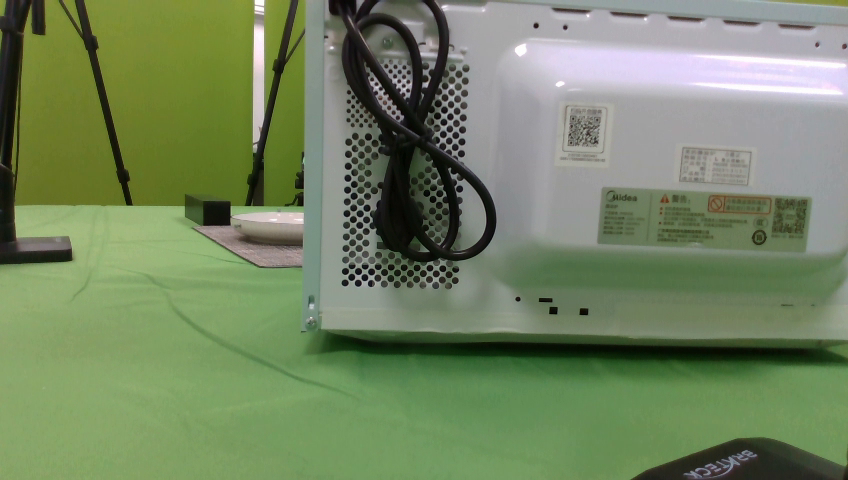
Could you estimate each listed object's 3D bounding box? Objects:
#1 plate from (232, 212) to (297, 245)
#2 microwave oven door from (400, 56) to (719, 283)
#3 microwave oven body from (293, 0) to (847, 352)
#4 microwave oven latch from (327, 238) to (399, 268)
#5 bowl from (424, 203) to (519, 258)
[{"bbox_3d":[-0.214,-0.019,1.018,0.208,0.039,0.207,3,7,0],"label":"plate"},{"bbox_3d":[0.155,-0.078,0.698,0.356,0.243,0.039,2,8,-5],"label":"microwave oven door"},{"bbox_3d":[0.122,-0.055,0.550,0.442,0.260,0.325,3,7,-5],"label":"microwave oven body"},{"bbox_3d":[-0.069,0.015,0.694,0.079,0.029,0.030,3,7,-3],"label":"microwave oven latch"},{"bbox_3d":[0.073,-0.015,0.962,0.151,0.077,0.151,3,8,0],"label":"bowl"}]
